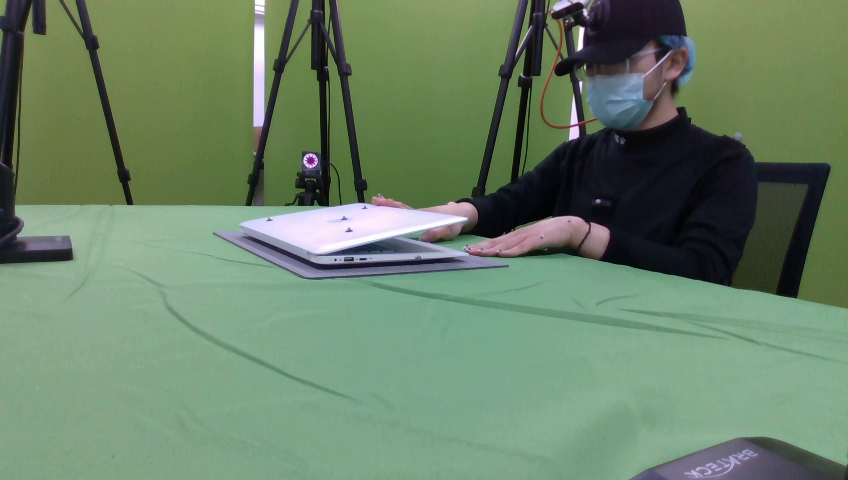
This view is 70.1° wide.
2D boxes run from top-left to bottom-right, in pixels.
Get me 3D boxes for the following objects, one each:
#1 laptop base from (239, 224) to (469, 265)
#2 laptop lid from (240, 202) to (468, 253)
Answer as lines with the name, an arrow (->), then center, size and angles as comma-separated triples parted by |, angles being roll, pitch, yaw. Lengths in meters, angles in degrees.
laptop base -> -0.124, 0.005, 0.936 | 0.237, 0.023, 0.352 | 2, 7, -33
laptop lid -> -0.123, -0.029, 0.931 | 0.243, 0.013, 0.355 | -11, 13, -29
